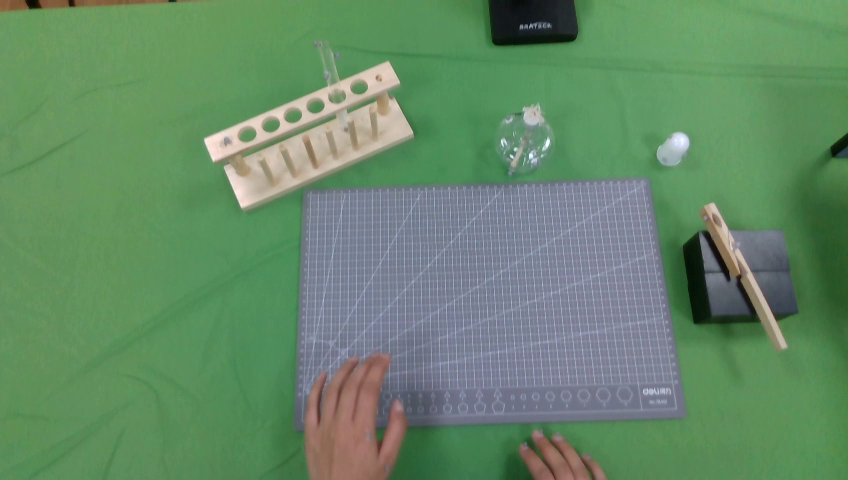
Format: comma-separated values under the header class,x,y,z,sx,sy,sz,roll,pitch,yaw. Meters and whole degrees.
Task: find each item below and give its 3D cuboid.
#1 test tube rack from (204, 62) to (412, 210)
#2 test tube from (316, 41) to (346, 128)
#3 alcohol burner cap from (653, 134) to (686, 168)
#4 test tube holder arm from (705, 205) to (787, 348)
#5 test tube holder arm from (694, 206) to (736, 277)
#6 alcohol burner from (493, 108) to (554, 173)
class,x,y,z,sx,sy,sz,roll,pitch,yaw
test tube rack,-0.140,-0.130,0.766,0.242,0.085,0.066,-25,73,-8
test tube,-0.109,-0.182,0.731,0.017,0.151,0.017,0,66,1
alcohol burner cap,0.320,-0.117,0.783,0.034,0.048,0.033,0,71,1
test tube holder arm,0.363,0.040,0.693,0.013,0.015,0.177,-22,74,-8
test tube holder arm,0.341,0.002,0.705,0.010,0.015,0.087,-20,74,-7
alcohol burner,0.125,-0.131,0.751,0.078,0.120,0.077,0,72,0
